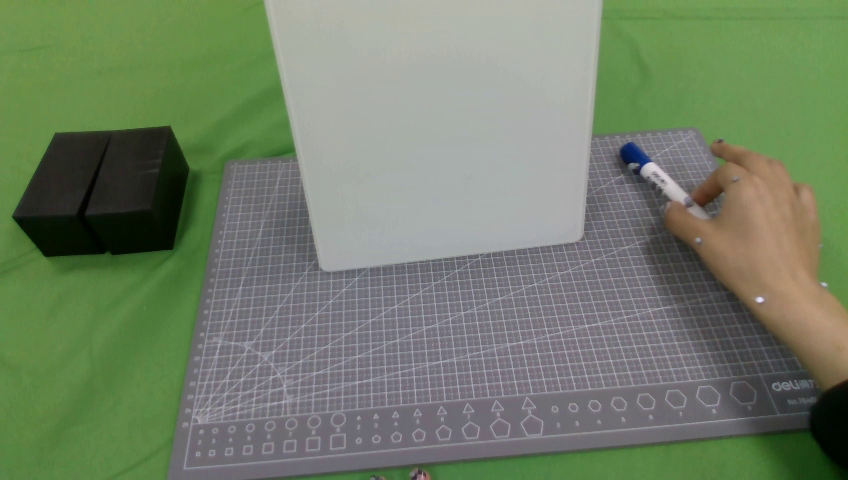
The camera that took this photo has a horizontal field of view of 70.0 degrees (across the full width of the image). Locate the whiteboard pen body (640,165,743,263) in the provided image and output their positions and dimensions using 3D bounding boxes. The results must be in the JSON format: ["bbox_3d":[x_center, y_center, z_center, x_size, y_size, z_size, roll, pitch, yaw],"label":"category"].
[{"bbox_3d":[0.213,-0.032,0.505,0.017,0.017,0.139,-16,46,-12],"label":"whiteboard pen body"}]

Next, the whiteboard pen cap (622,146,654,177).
[{"bbox_3d":[0.193,-0.069,0.545,0.018,0.018,0.033,-15,46,-11],"label":"whiteboard pen cap"}]

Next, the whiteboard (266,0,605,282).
[{"bbox_3d":[0.007,-0.144,0.466,0.217,0.308,0.142,-6,31,-3],"label":"whiteboard"}]
